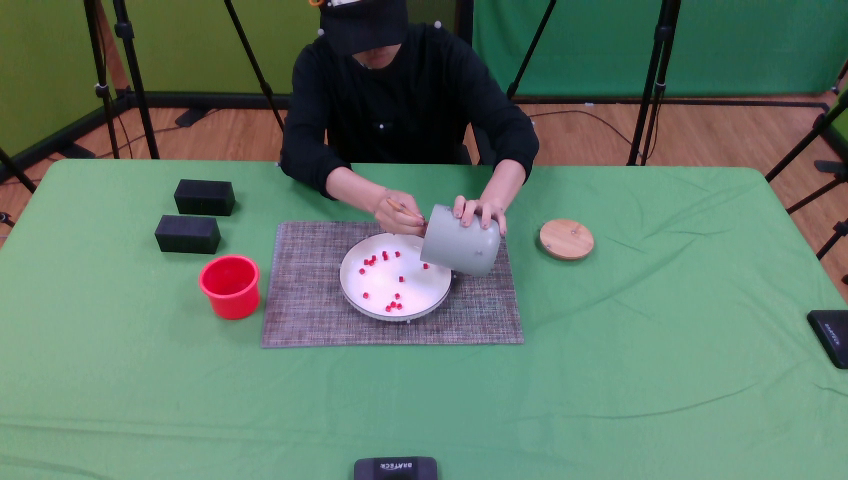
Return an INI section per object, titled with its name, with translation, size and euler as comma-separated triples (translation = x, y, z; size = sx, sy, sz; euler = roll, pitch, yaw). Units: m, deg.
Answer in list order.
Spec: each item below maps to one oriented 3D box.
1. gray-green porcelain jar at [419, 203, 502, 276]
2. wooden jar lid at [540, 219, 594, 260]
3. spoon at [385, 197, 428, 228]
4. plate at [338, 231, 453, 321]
[gray-green porcelain jar]
translation = 0.066, 0.002, 1.058
size = 0.126, 0.106, 0.105
euler = 15, 47, 3
[wooden jar lid]
translation = 0.286, 0.001, 1.218
size = 0.108, 0.021, 0.107
euler = 1, 46, -1
[spoon]
translation = 0.016, -0.024, 1.047
size = 0.194, 0.022, 0.041
euler = 25, 43, -12
[plate]
translation = -0.052, 0.068, 1.111
size = 0.208, 0.039, 0.206
euler = 2, 46, -2
